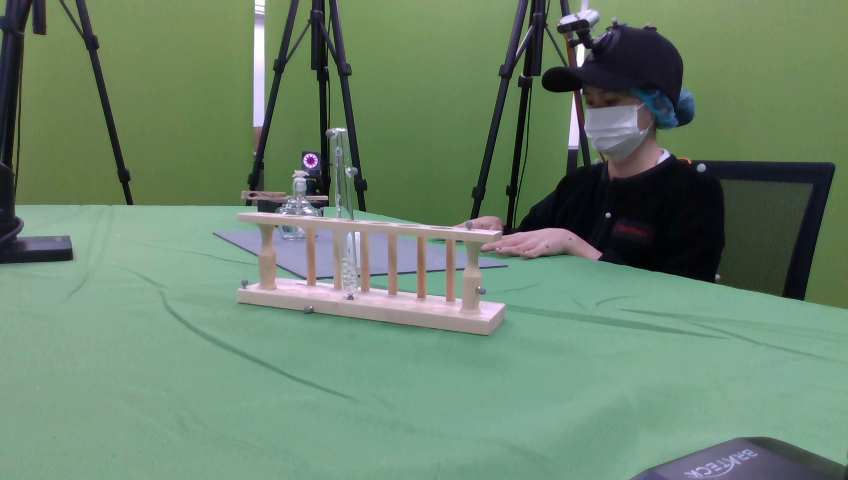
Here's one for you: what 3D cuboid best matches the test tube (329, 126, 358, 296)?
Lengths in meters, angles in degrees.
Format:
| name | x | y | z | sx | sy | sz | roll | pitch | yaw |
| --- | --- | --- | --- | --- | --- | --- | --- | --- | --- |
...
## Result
| name | x | y | z | sx | sy | sz | roll | pitch | yaw |
| --- | --- | --- | --- | --- | --- | --- | --- | --- | --- |
| test tube | -0.071 | -0.025 | 0.535 | 0.017 | 0.150 | 0.017 | -3 | 8 | 1 |

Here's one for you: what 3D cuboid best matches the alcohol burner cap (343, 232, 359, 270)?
| name | x | y | z | sx | sy | sz | roll | pitch | yaw |
| --- | --- | --- | --- | --- | --- | --- | --- | --- | --- |
| alcohol burner cap | -0.087 | 0.013 | 0.777 | 0.034 | 0.048 | 0.034 | 3 | 7 | 0 |

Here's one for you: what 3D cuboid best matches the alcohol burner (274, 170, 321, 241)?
| name | x | y | z | sx | sy | sz | roll | pitch | yaw |
| --- | --- | --- | --- | --- | --- | --- | --- | --- | --- |
| alcohol burner | -0.212 | -0.058 | 1.015 | 0.078 | 0.119 | 0.078 | 4 | 5 | 0 |

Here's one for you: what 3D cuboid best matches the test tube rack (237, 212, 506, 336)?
| name | x | y | z | sx | sy | sz | roll | pitch | yaw |
| --- | --- | --- | --- | --- | --- | --- | --- | --- | --- |
| test tube rack | -0.049 | 0.024 | 0.552 | 0.242 | 0.085 | 0.067 | 5 | 8 | 18 |

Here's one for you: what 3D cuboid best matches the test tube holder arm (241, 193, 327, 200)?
| name | x | y | z | sx | sy | sz | roll | pitch | yaw |
| --- | --- | --- | --- | --- | --- | --- | --- | --- | --- |
| test tube holder arm | -0.289 | -0.091 | 1.261 | 0.179 | 0.013 | 0.015 | -3 | 7 | -29 |

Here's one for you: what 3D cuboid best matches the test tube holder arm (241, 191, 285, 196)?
| name | x | y | z | sx | sy | sz | roll | pitch | yaw |
| --- | --- | --- | --- | --- | --- | --- | --- | --- | --- |
| test tube holder arm | -0.328 | -0.095 | 1.238 | 0.088 | 0.010 | 0.015 | -2 | 7 | -29 |
